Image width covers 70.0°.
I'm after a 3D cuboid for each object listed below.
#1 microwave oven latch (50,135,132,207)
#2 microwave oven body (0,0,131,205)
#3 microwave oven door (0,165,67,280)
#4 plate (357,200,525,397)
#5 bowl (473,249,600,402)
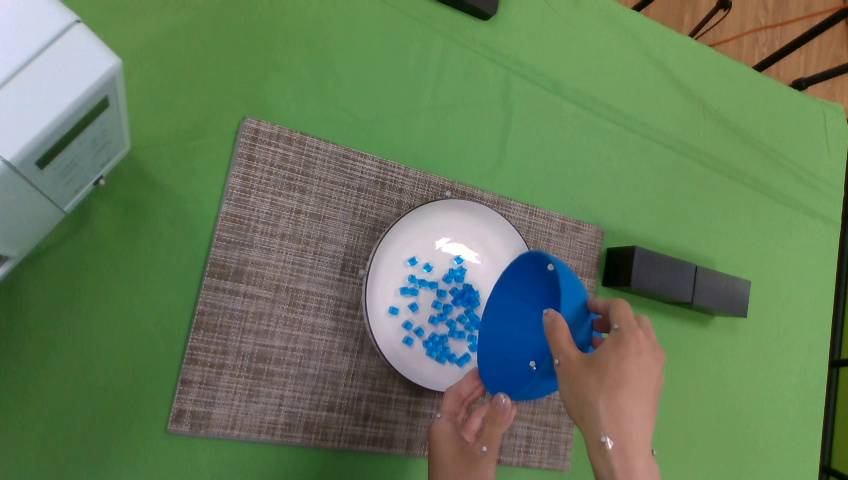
[{"bbox_3d":[-0.280,-0.065,0.504,0.030,0.029,0.079,44,71,-16],"label":"microwave oven latch"},{"bbox_3d":[-0.447,-0.033,0.319,0.328,0.259,0.440,43,72,-17],"label":"microwave oven body"},{"bbox_3d":[-0.365,0.093,0.344,0.039,0.243,0.355,42,71,-16],"label":"microwave oven door"},{"bbox_3d":[0.024,0.062,0.651,0.209,0.039,0.207,2,86,-25],"label":"plate"},{"bbox_3d":[0.119,0.092,0.599,0.077,0.151,0.151,19,79,-19],"label":"bowl"}]
